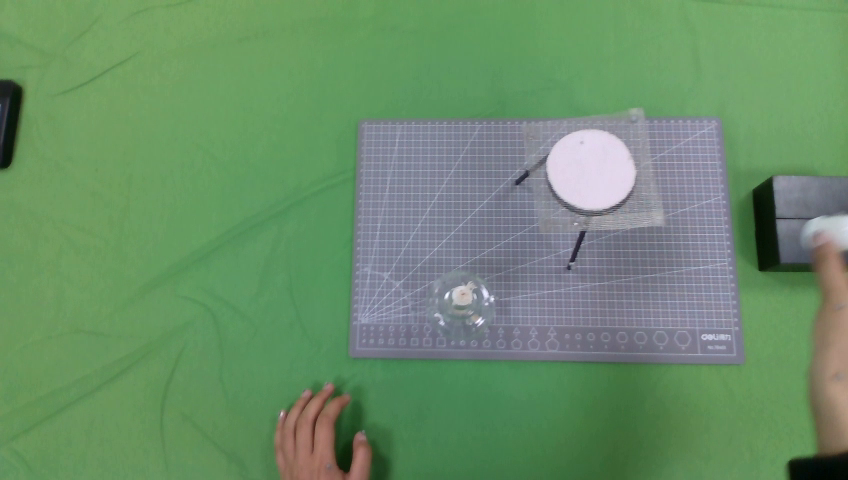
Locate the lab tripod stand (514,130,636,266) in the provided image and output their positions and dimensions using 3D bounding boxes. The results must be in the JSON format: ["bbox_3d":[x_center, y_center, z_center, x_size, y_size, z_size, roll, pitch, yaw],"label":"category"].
[{"bbox_3d":[0.172,-0.057,0.666,0.148,0.132,0.147,0,75,2],"label":"lab tripod stand"}]

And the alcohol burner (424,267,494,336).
[{"bbox_3d":[0.038,0.064,0.655,0.078,0.119,0.077,0,76,1],"label":"alcohol burner"}]

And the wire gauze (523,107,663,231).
[{"bbox_3d":[0.167,-0.070,0.601,0.125,0.011,0.121,-5,77,0],"label":"wire gauze"}]

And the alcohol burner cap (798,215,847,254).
[{"bbox_3d":[0.341,-0.006,0.503,0.034,0.048,0.034,0,86,-5],"label":"alcohol burner cap"}]
